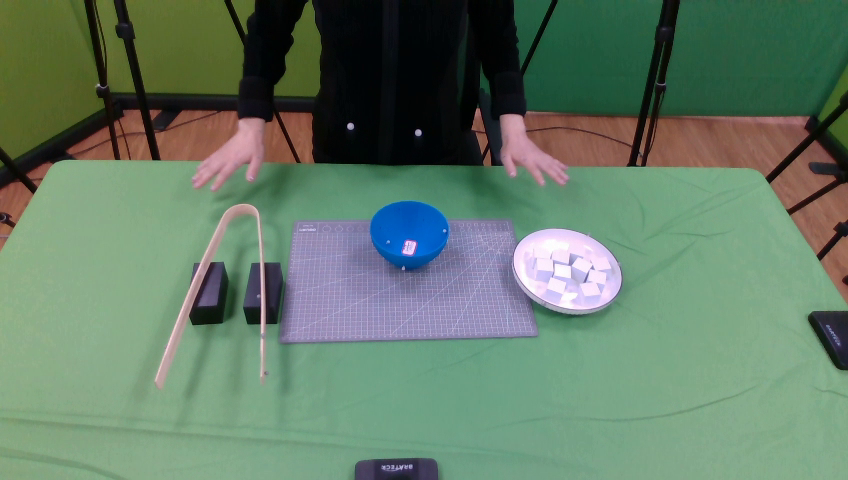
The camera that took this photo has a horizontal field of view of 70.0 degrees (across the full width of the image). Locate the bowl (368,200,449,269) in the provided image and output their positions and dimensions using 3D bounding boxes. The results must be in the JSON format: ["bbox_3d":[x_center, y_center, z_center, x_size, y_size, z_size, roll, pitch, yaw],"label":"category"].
[{"bbox_3d":[-0.031,0.002,1.151,0.151,0.077,0.150,2,46,-2],"label":"bowl"}]

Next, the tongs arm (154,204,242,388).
[{"bbox_3d":[-0.375,0.075,1.022,0.028,0.028,0.385,3,46,3],"label":"tongs arm"}]

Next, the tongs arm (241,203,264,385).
[{"bbox_3d":[-0.295,0.075,1.031,0.051,0.026,0.382,-4,47,-8],"label":"tongs arm"}]

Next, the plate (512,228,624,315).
[{"bbox_3d":[0.268,0.063,1.146,0.208,0.039,0.206,3,46,-3],"label":"plate"}]
